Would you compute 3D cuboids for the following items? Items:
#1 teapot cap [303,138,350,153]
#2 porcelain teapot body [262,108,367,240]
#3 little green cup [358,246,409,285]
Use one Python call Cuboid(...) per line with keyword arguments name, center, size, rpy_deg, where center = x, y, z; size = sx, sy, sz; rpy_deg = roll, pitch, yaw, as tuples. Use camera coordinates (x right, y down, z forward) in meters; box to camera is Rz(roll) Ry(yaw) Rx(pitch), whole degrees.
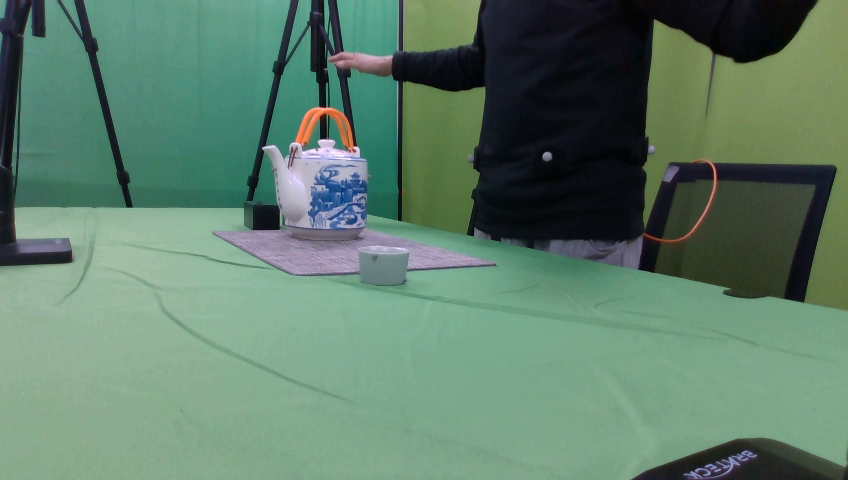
Cuboid(name="teapot cap", center=(-0.172, -0.157, 1.060), size=(0.085, 0.044, 0.085), rpy_deg=(-1, 6, 0))
Cuboid(name="porcelain teapot body", center=(-0.191, -0.115, 1.041), size=(0.144, 0.225, 0.206), rpy_deg=(8, 10, 36))
Cuboid(name="little green cup", center=(-0.048, 0.030, 0.707), size=(0.061, 0.038, 0.061), rpy_deg=(2, 8, 0))
